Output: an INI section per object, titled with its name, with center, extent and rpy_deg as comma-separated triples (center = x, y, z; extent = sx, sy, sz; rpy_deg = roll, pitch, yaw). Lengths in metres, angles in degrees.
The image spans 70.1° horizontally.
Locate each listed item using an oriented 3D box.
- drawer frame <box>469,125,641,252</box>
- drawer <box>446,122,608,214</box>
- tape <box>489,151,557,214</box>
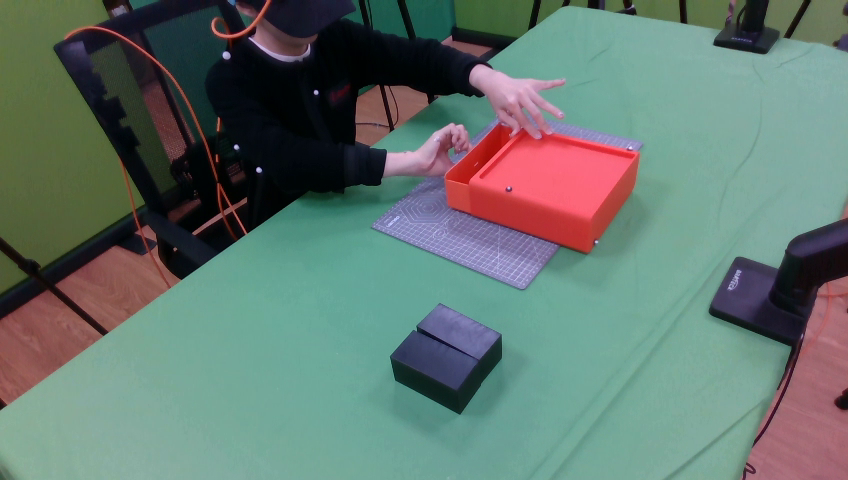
[drawer frame]
center = 0.217, -0.093, 1.003
extent = 0.212, 0.083, 0.202
rpy_deg = 20, 47, 28
[drawer]
center = 0.175, -0.107, 1.026
extent = 0.210, 0.073, 0.195
rpy_deg = 20, 46, 28
[tape]
center = 0.168, -0.099, 1.027
extent = 0.117, 0.053, 0.116
rpy_deg = -4, 40, 4
